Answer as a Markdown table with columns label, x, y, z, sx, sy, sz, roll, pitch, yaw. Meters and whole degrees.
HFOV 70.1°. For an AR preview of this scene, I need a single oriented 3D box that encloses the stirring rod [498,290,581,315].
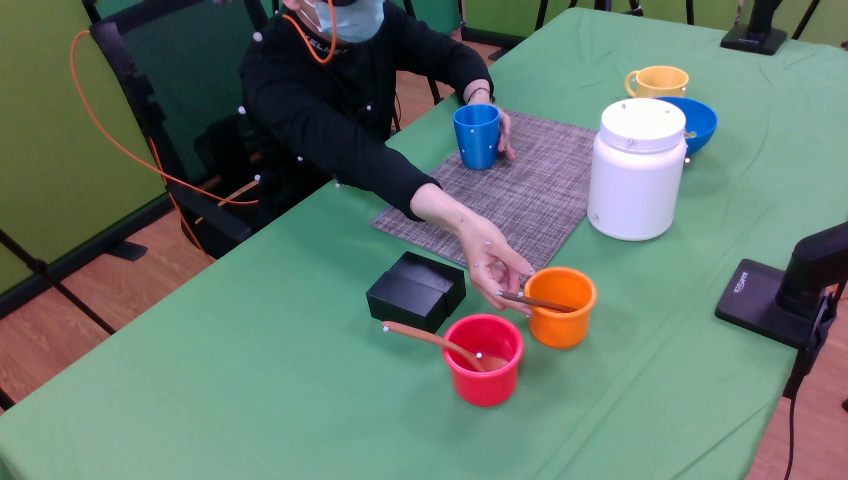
| label | x | y | z | sx | sy | sz | roll | pitch | yaw |
| --- | --- | --- | --- | --- | --- | --- | --- | --- | --- |
| stirring rod | 0.151 | 0.081 | 0.772 | 0.178 | 0.006 | 0.014 | 16 | 19 | -44 |

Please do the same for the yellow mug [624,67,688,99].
| label | x | y | z | sx | sy | sz | roll | pitch | yaw |
| --- | --- | --- | --- | --- | --- | --- | --- | --- | --- |
| yellow mug | 0.464 | -0.305 | 1.230 | 0.100 | 0.064 | 0.129 | -34 | 46 | -27 |

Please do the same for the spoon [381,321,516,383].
| label | x | y | z | sx | sy | sz | roll | pitch | yaw |
| --- | --- | --- | --- | --- | --- | --- | --- | --- | --- |
| spoon | 0.033 | 0.131 | 0.725 | 0.195 | 0.021 | 0.041 | 29 | 30 | -26 |

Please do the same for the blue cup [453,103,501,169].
| label | x | y | z | sx | sy | sz | roll | pitch | yaw |
| --- | --- | --- | --- | --- | --- | --- | --- | --- | --- |
| blue cup | 0.100 | -0.188 | 1.114 | 0.092 | 0.100 | 0.092 | -4 | 39 | 4 |

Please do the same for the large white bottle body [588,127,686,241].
| label | x | y | z | sx | sy | sz | roll | pitch | yaw |
| --- | --- | --- | --- | --- | --- | --- | --- | --- | --- |
| large white bottle body | 0.324 | -0.105 | 0.926 | 0.130 | 0.185 | 0.130 | -4 | 41 | 4 |

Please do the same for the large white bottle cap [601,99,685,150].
| label | x | y | z | sx | sy | sz | roll | pitch | yaw |
| --- | --- | --- | --- | --- | --- | --- | --- | --- | --- |
| large white bottle cap | 0.314 | -0.168 | 0.870 | 0.115 | 0.018 | 0.114 | -4 | 41 | 4 |

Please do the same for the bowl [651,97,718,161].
| label | x | y | z | sx | sy | sz | roll | pitch | yaw |
| --- | --- | --- | --- | --- | --- | --- | --- | --- | --- |
| bowl | 0.439 | -0.187 | 1.087 | 0.151 | 0.077 | 0.150 | -4 | 41 | 4 |
